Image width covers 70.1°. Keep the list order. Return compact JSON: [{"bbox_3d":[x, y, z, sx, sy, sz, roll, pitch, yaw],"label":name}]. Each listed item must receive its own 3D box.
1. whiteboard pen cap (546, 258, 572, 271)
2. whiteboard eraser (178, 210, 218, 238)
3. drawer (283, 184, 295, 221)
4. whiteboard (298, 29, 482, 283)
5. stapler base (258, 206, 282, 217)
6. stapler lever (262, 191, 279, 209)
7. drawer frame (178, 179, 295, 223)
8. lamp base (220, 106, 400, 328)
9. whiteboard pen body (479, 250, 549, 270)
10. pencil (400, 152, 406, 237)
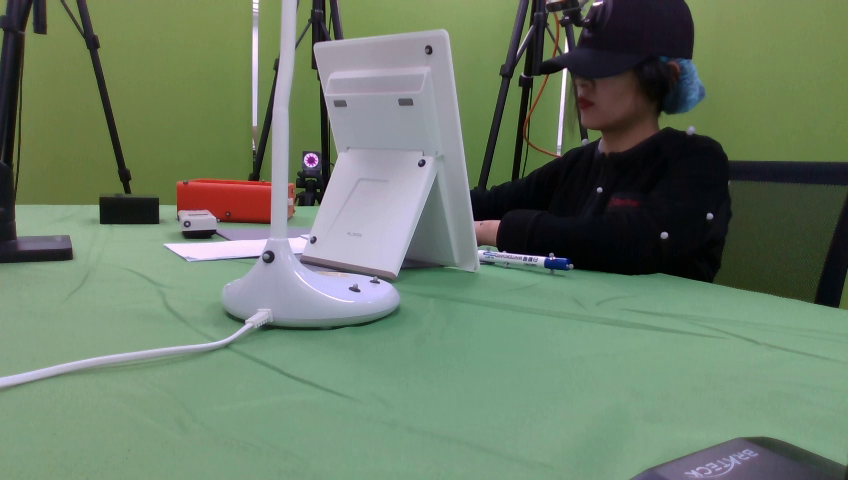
[{"bbox_3d":[0.175,0.032,0.790,0.033,0.018,0.018,3,7,37],"label":"whiteboard pen cap"},{"bbox_3d":[-0.380,-0.027,1.014,0.056,0.042,0.112,0,8,-25],"label":"whiteboard eraser"},{"bbox_3d":[-0.394,-0.086,1.317,0.212,0.073,0.194,1,8,-7],"label":"drawer"},{"bbox_3d":[-0.075,-0.082,0.742,0.216,0.305,0.144,9,29,37],"label":"whiteboard"},{"bbox_3d":[-0.331,-0.064,1.305,0.041,0.024,0.130,9,-2,-9],"label":"stapler base"},{"bbox_3d":[-0.329,-0.086,1.306,0.027,0.040,0.118,9,3,-9],"label":"stapler lever"},{"bbox_3d":[-0.397,-0.088,1.315,0.214,0.082,0.201,1,8,-7],"label":"drawer frame"},{"bbox_3d":[-0.101,-0.023,0.531,0.160,0.180,0.179,4,10,10],"label":"lamp base"},{"bbox_3d":[0.130,0.028,0.827,0.140,0.017,0.017,7,8,38],"label":"whiteboard pen body"},{"bbox_3d":[-0.039,-0.088,1.133,0.012,0.193,0.012,-2,-30,-1],"label":"pencil"}]
